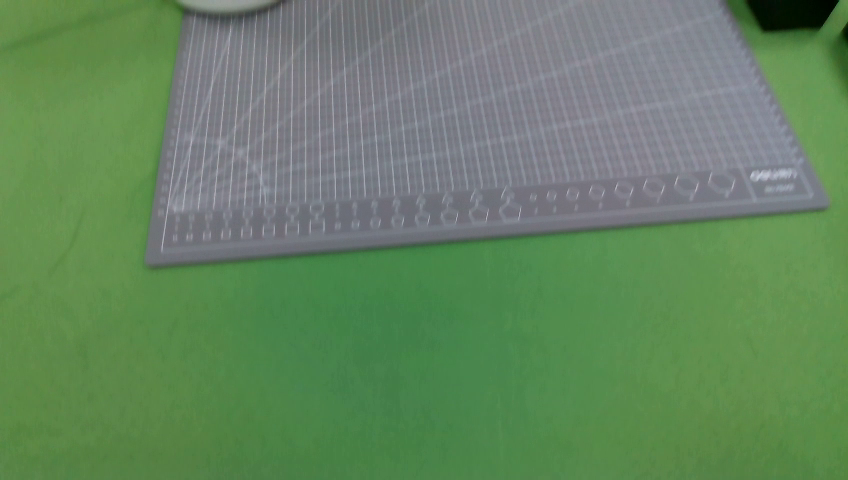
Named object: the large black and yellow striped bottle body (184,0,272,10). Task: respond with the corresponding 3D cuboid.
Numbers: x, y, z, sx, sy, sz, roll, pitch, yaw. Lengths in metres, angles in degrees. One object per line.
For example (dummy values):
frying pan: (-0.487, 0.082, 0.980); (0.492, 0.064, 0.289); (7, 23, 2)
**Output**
large black and yellow striped bottle body: (-0.164, -0.286, 0.449); (0.131, 0.185, 0.129); (-1, 58, 2)
